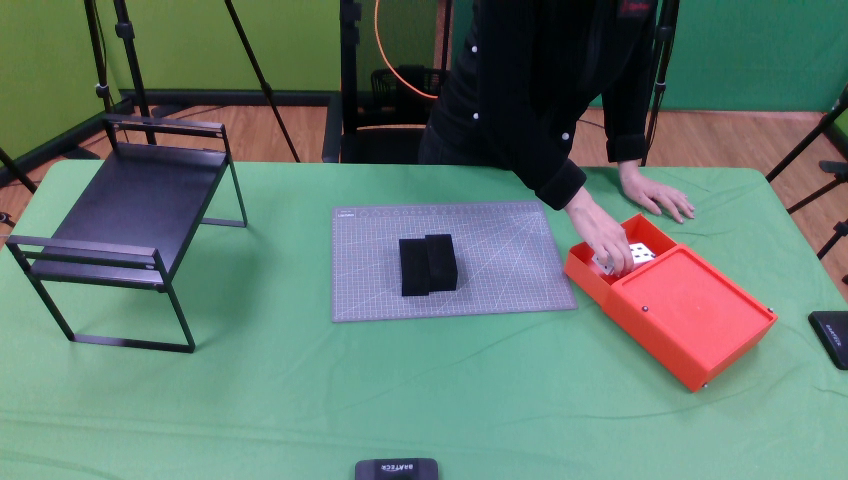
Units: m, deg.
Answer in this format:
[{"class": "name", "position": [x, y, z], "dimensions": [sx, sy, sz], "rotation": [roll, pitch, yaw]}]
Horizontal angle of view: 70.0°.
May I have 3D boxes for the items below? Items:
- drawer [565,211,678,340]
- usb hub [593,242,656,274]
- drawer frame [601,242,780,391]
[{"class": "drawer", "position": [0.405, 0.065, 1.126], "dimensions": [0.194, 0.073, 0.210], "rotation": [-24, 54, -25]}, {"class": "usb hub", "position": [0.378, 0.034, 1.134], "dimensions": [0.125, 0.025, 0.049], "rotation": [-8, 45, -31]}, {"class": "drawer frame", "position": [0.462, 0.125, 1.065], "dimensions": [0.202, 0.083, 0.212], "rotation": [-26, 54, -26]}]
